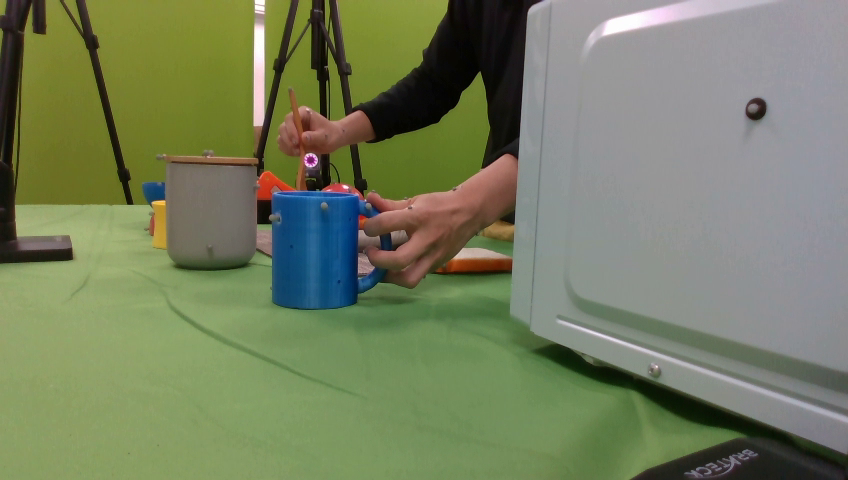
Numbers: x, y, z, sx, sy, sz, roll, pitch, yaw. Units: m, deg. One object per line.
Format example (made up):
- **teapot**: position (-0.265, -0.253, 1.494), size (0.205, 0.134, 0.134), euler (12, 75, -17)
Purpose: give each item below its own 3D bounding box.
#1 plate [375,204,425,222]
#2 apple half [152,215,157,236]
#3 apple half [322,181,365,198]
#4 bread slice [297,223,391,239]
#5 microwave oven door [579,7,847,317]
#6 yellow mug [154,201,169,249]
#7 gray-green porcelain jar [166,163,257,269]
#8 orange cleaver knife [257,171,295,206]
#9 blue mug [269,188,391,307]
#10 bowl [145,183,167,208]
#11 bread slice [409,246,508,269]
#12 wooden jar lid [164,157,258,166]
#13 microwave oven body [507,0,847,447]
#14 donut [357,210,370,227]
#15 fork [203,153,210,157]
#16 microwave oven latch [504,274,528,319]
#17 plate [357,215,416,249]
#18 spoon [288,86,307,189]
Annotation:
- **plate**: position (-0.102, -0.053, 1.299), size (0.209, 0.038, 0.209), euler (2, 8, 0)
- **apple half**: position (-0.415, -0.034, 1.017), size (0.081, 0.053, 0.074), euler (1, 10, -9)
- **apple half**: position (-0.128, -0.077, 0.954), size (0.081, 0.033, 0.081), euler (6, 13, -1)
- **bread slice**: position (-0.121, -0.016, 0.969), size (0.106, 0.018, 0.135), euler (8, 7, 41)
- **microwave oven door**: position (0.294, -0.067, 0.570), size (0.358, 0.243, 0.039), euler (-3, 9, -31)
- **yellow mug**: position (-0.337, -0.023, 0.899), size (0.130, 0.064, 0.100), euler (7, 9, 34)
- **gray-green porcelain jar**: position (-0.263, -0.031, 0.754), size (0.106, 0.126, 0.106), euler (2, 7, 0)
- **orange cleaver knife**: position (-0.283, -0.087, 1.343), size (0.212, 0.077, 0.012), euler (24, -16, -41)
- **blue mug**: position (-0.090, 0.005, 0.587), size (0.117, 0.106, 0.082), euler (0, 8, -10)
- **bowl**: position (-0.459, -0.069, 1.175), size (0.151, 0.077, 0.151), euler (2, 7, 0)
- **bread slice**: position (0.048, 0.021, 0.816), size (0.132, 0.019, 0.104), euler (-1, 7, -24)
- **wooden jar lid**: position (-0.261, -0.093, 0.746), size (0.108, 0.020, 0.108), euler (0, 9, 0)
- **microwave oven body**: position (0.331, -0.042, 0.425), size (0.444, 0.260, 0.324), euler (-2, 8, -31)
- **donut**: position (-0.132, -0.042, 0.959), size (0.099, 0.048, 0.099), euler (3, 7, 0)
- **fork**: position (-0.480, -0.135, 1.411), size (0.028, 0.018, 0.207), euler (1, -34, 0)
- **microwave oven latch**: position (0.100, 0.041, 0.470), size (0.079, 0.029, 0.030), euler (-1, 7, -27)
- **plate**: position (-0.116, -0.014, 0.967), size (0.208, 0.039, 0.207), euler (2, 7, 0)
- **spoon**: position (-0.198, -0.147, 0.965), size (0.021, 0.193, 0.041), euler (-3, 8, 7)
